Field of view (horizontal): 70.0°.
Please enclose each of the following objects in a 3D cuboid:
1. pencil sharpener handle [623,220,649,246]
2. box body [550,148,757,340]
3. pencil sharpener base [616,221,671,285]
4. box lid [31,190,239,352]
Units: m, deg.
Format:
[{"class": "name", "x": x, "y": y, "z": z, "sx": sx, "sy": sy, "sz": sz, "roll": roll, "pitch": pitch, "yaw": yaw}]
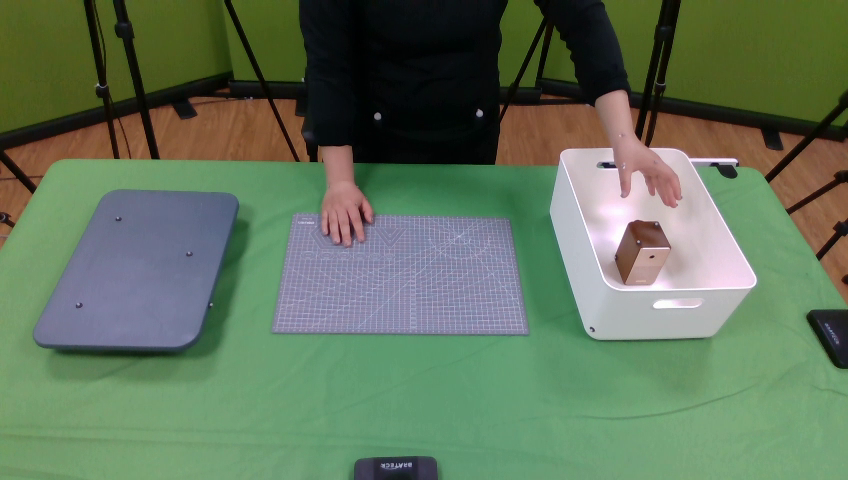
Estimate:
[{"class": "pencil sharpener handle", "x": 0.402, "y": -0.020, "z": 1.163, "sx": 0.036, "sy": 0.068, "sz": 0.030, "roll": 6, "pitch": 44, "yaw": -11}, {"class": "box body", "x": 0.395, "y": 0.003, "z": 1.127, "sx": 0.254, "sy": 0.161, "sz": 0.361, "roll": -1, "pitch": 46, "yaw": -5}, {"class": "pencil sharpener base", "x": 0.408, "y": 0.024, "z": 1.136, "sx": 0.061, "sy": 0.107, "sz": 0.076, "roll": -2, "pitch": 45, "yaw": -3}, {"class": "box lid", "x": -0.491, "y": 0.040, "z": 1.070, "sx": 0.263, "sy": 0.015, "sz": 0.369, "roll": 1, "pitch": 46, "yaw": -3}]
